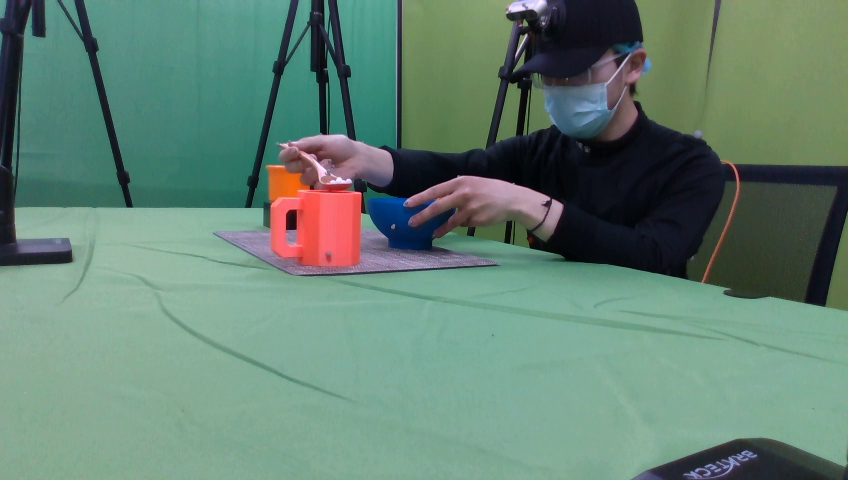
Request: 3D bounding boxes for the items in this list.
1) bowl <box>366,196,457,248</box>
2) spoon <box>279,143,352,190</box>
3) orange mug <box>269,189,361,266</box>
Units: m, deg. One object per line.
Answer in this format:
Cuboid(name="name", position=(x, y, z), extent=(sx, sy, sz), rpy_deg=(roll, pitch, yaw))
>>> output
Cuboid(name="bowl", position=(-0.022, -0.030, 1.001), extent=(0.151, 0.077, 0.151), rpy_deg=(2, 7, 0))
Cuboid(name="spoon", position=(-0.160, -0.109, 0.861), extent=(0.042, 0.021, 0.192), rpy_deg=(-12, 34, -35))
Cuboid(name="orange mug", position=(-0.142, -0.019, 0.796), extent=(0.127, 0.100, 0.083), rpy_deg=(3, 5, -39))
